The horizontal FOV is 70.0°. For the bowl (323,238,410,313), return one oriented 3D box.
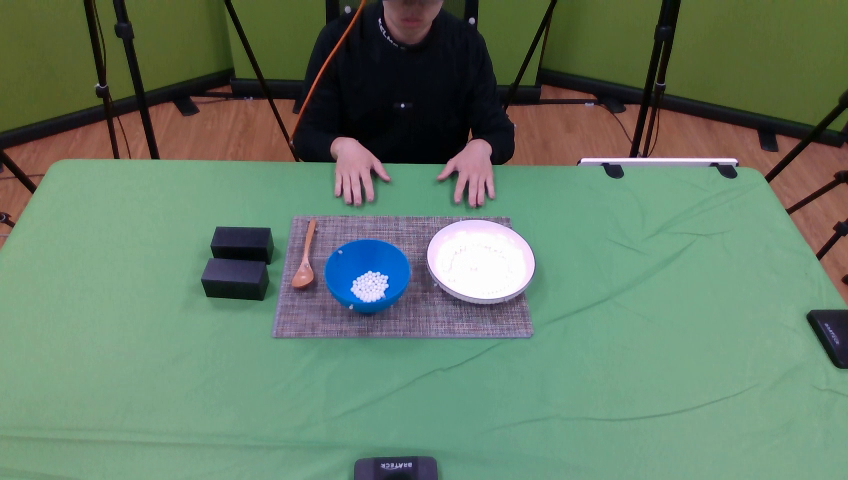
[{"bbox_3d":[-0.101,0.077,1.073,0.151,0.077,0.150,2,46,-2],"label":"bowl"}]

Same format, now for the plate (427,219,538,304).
[{"bbox_3d":[0.109,0.044,1.149,0.208,0.039,0.206,2,46,-2],"label":"plate"}]

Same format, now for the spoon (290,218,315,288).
[{"bbox_3d":[-0.224,0.021,1.156,0.041,0.022,0.192,-11,46,10],"label":"spoon"}]
